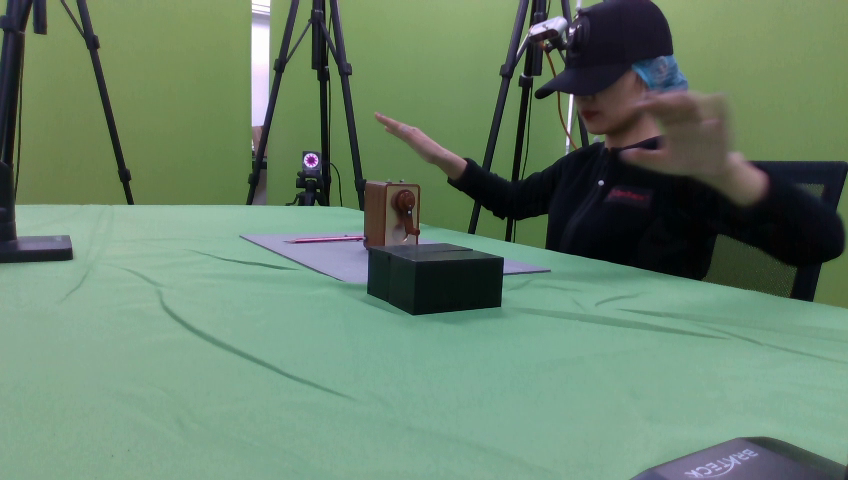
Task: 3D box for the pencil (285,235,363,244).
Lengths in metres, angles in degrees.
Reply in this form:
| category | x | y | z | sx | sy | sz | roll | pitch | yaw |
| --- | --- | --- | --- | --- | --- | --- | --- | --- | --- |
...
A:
| category | x | y | z | sx | sy | sz | roll | pitch | yaw |
| --- | --- | --- | --- | --- | --- | --- | --- | --- | --- |
| pencil | -0.138 | -0.002 | 1.003 | 0.195 | 0.012 | 0.012 | -4 | 9 | -33 |

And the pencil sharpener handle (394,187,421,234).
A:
| category | x | y | z | sx | sy | sz | roll | pitch | yaw |
| --- | --- | --- | --- | --- | --- | --- | --- | --- | --- |
| pencil sharpener handle | -0.019 | -0.042 | 0.862 | 0.036 | 0.068 | 0.030 | -13 | 14 | -29 |

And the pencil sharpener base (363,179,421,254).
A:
| category | x | y | z | sx | sy | sz | roll | pitch | yaw |
| --- | --- | --- | --- | --- | --- | --- | --- | --- | --- |
| pencil sharpener base | -0.048 | -0.036 | 0.906 | 0.062 | 0.107 | 0.076 | -1 | 8 | -31 |
